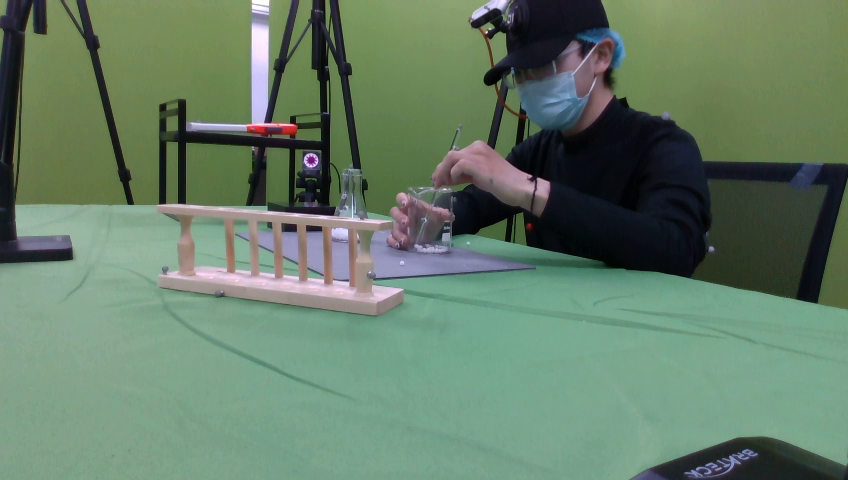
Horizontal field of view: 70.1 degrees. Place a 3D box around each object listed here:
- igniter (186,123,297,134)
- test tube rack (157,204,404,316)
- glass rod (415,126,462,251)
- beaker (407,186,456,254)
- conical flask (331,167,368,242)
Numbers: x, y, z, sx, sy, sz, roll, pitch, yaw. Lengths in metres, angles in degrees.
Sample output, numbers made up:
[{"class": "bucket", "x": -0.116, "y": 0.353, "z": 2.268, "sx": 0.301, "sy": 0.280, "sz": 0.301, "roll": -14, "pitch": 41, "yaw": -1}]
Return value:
[{"class": "igniter", "x": -0.392, "y": -0.247, "z": 1.341, "sx": 0.057, "sy": 0.025, "sz": 0.278, "roll": 9, "pitch": 14, "yaw": 38}, {"class": "test tube rack", "x": -0.143, "y": 0.013, "z": 0.599, "sx": 0.242, "sy": 0.085, "sz": 0.067, "roll": 5, "pitch": 8, "yaw": 19}, {"class": "glass rod", "x": 0.022, "y": -0.077, "z": 0.912, "sx": 0.008, "sy": 0.199, "sz": 0.008, "roll": 20, "pitch": 3, "yaw": -1}, {"class": "beaker", "x": 0.009, "y": -0.032, "z": 0.926, "sx": 0.073, "sy": 0.100, "sz": 0.084, "roll": 6, "pitch": 9, "yaw": 27}, {"class": "conical flask", "x": -0.123, "y": -0.061, "z": 1.019, "sx": 0.075, "sy": 0.122, "sz": 0.075, "roll": 2, "pitch": 7, "yaw": 0}]
